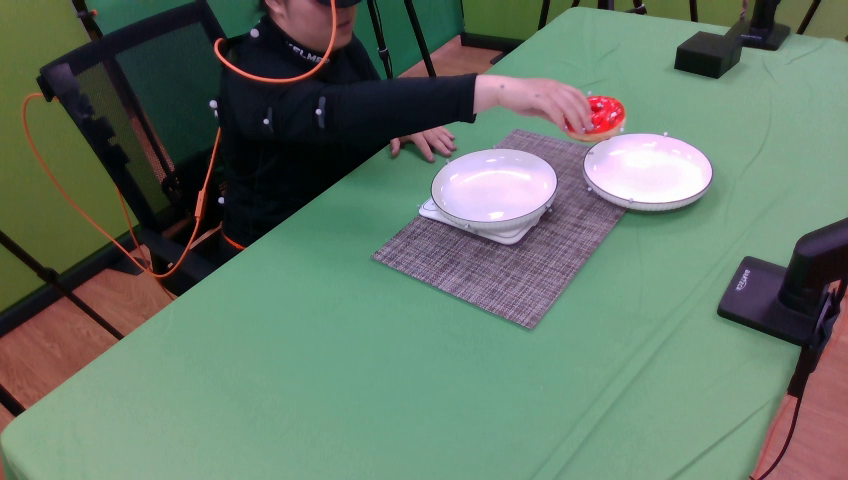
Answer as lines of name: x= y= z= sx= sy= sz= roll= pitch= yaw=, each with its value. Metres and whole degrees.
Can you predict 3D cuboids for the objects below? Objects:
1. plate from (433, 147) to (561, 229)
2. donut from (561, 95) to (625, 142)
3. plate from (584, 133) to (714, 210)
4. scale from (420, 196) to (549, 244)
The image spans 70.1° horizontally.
plate: x=0.120 y=-0.082 z=0.996 sx=0.207 sy=0.039 sz=0.206 roll=-6 pitch=40 yaw=5
donut: x=0.268 y=-0.193 z=0.959 sx=0.099 sy=0.048 sz=0.098 roll=-10 pitch=41 yaw=9
plate: x=0.379 y=-0.113 z=1.030 sx=0.209 sy=0.038 sz=0.208 roll=-4 pitch=41 yaw=4
scale: x=0.106 y=-0.064 z=1.029 sx=0.199 sy=0.032 sz=0.149 roll=21 pitch=48 yaw=32
